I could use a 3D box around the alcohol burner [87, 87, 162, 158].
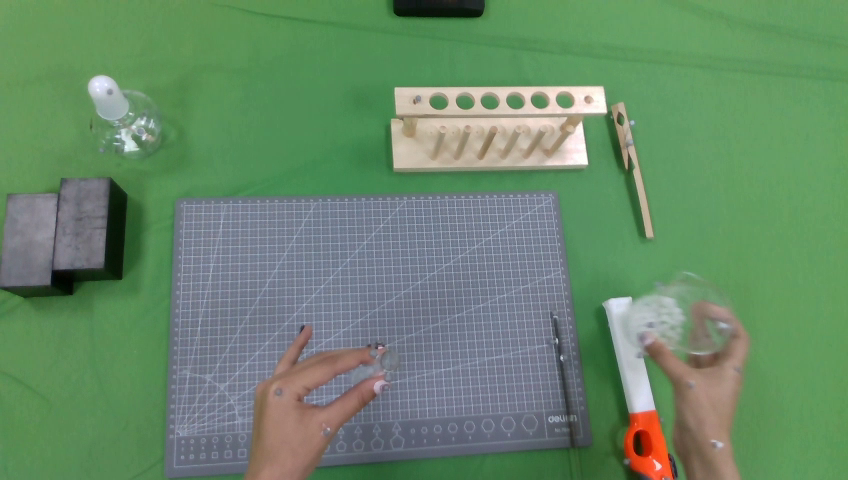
[{"bbox_3d":[-0.329,-0.138,0.654,0.078,0.119,0.077,2,72,-4],"label":"alcohol burner"}]

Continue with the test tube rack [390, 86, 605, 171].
[{"bbox_3d":[0.084,-0.131,0.718,0.243,0.085,0.066,-2,74,-7],"label":"test tube rack"}]

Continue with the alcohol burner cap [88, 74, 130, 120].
[{"bbox_3d":[-0.325,-0.150,0.620,0.034,0.048,0.033,4,67,-10],"label":"alcohol burner cap"}]

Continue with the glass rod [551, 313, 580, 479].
[{"bbox_3d":[0.158,0.180,0.676,0.008,0.008,0.198,-3,74,-8],"label":"glass rod"}]

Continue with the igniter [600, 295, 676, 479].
[{"bbox_3d":[0.240,0.199,0.674,0.057,0.025,0.275,-3,74,-18],"label":"igniter"}]

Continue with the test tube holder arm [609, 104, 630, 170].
[{"bbox_3d":[0.252,-0.132,0.775,0.010,0.015,0.087,-17,75,25],"label":"test tube holder arm"}]

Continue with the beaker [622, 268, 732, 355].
[{"bbox_3d":[0.253,0.078,0.623,0.074,0.100,0.083,-5,77,-5],"label":"beaker"}]

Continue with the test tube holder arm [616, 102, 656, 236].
[{"bbox_3d":[0.265,-0.090,0.762,0.013,0.015,0.177,-18,75,25],"label":"test tube holder arm"}]

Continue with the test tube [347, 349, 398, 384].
[{"bbox_3d":[-0.046,0.109,0.511,0.017,0.150,0.017,5,72,-15],"label":"test tube"}]
